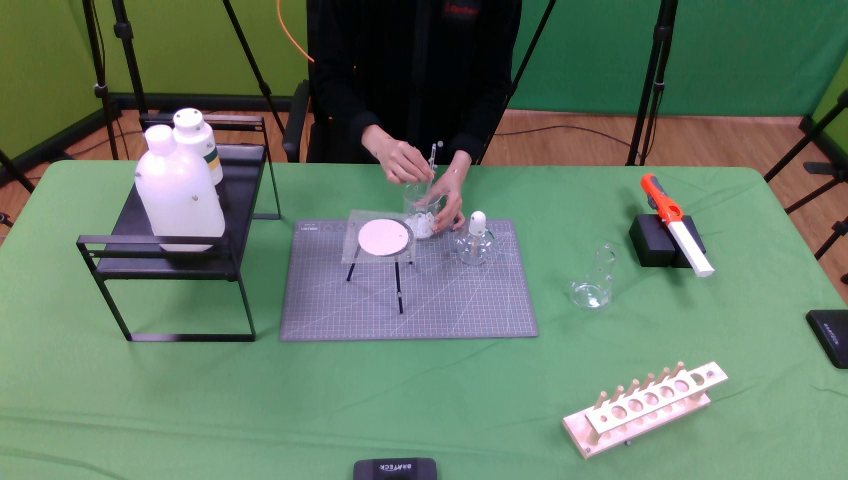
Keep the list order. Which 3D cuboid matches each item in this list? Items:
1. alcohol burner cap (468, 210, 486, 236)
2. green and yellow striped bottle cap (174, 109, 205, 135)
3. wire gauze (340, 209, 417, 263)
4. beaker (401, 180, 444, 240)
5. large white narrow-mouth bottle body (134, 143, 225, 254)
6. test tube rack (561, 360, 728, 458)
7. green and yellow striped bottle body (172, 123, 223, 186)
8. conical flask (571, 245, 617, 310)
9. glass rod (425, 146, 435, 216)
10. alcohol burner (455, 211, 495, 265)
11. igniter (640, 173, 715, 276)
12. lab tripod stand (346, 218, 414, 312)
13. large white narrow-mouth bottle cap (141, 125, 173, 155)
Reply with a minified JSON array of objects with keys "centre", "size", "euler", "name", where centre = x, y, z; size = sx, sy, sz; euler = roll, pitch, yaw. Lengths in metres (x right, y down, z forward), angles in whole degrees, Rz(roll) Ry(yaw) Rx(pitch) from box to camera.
[{"centre":[0.100,-0.034,1.119],"size":[0.034,0.048,0.033],"euler":[0,53,0],"name":"alcohol burner cap"},{"centre":[-0.369,-0.186,0.954],"size":[0.045,0.020,0.045],"euler":[3,50,-3],"name":"green and yellow striped bottle cap"},{"centre":[-0.074,-0.007,1.023],"size":[0.121,0.011,0.124],"euler":[3,46,0],"name":"wire gauze"},{"centre":[-0.005,-0.057,1.194],"size":[0.084,0.101,0.073],"euler":[-7,48,-11],"name":"beaker"},{"centre":[-0.358,-0.075,0.875],"size":[0.102,0.195,0.101],"euler":[1,48,-1],"name":"large white narrow-mouth bottle body"},{"centre":[0.341,0.247,0.940],"size":[0.243,0.085,0.066],"euler":[-15,49,-18],"name":"test tube rack"},{"centre":[-0.373,-0.148,0.994],"size":[0.063,0.120,0.063],"euler":[2,46,-2],"name":"green and yellow striped bottle body"},{"centre":[0.313,0.064,1.089],"size":[0.075,0.122,0.075],"euler":[2,46,-2],"name":"conical flask"},{"centre":[0.010,-0.107,1.151],"size":[0.008,0.200,0.008],"euler":[2,54,-3],"name":"glass rod"},{"centre":[0.097,-0.010,1.147],"size":[0.078,0.120,0.077],"euler":[1,47,-1],"name":"alcohol burner"},{"centre":[0.495,-0.039,1.204],"size":[0.057,0.025,0.274],"euler":[-2,47,-13],"name":"igniter"},{"centre":[-0.070,0.037,1.075],"size":[0.148,0.132,0.147],"euler":[1,47,-1],"name":"lab tripod stand"},{"centre":[-0.356,-0.134,0.810],"size":[0.038,0.024,0.037],"euler":[1,48,-1],"name":"large white narrow-mouth bottle cap"}]
